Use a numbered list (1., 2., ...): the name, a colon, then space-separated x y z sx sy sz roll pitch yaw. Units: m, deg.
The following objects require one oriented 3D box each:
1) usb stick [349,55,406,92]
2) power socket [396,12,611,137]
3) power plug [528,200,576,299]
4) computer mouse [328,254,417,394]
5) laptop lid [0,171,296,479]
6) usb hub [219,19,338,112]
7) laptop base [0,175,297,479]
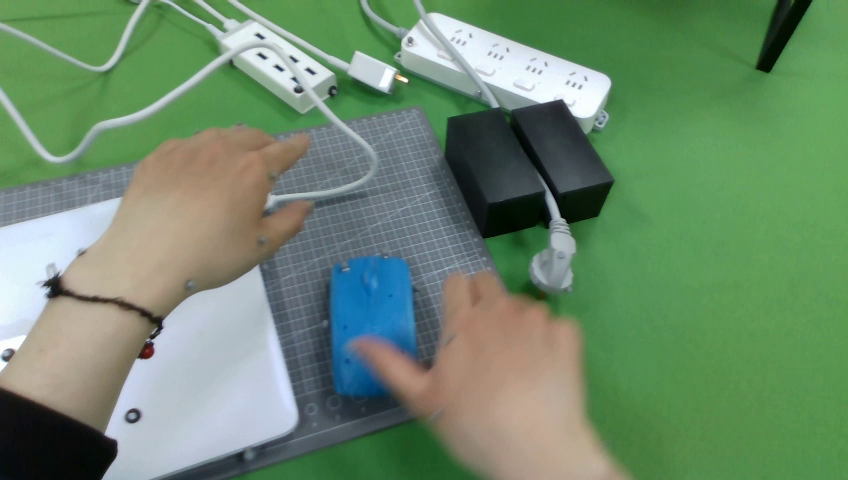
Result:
1. usb stick: -0.045 -0.165 0.607 0.059 0.027 0.021 16 12 -9
2. power socket: 0.081 -0.171 0.613 0.226 0.033 0.072 25 58 14
3. power plug: 0.105 0.012 0.486 0.035 0.053 0.072 23 47 0
4. computer mouse: -0.039 0.057 0.449 0.063 0.041 0.116 -5 52 -3
5. laptop lid: -0.288 0.080 0.423 0.357 0.013 0.239 -15 61 -12
6. usb hub: -0.149 -0.178 0.612 0.124 0.025 0.049 37 62 21
7. laptop base: -0.288 0.085 0.434 0.355 0.023 0.233 -16 62 -13
